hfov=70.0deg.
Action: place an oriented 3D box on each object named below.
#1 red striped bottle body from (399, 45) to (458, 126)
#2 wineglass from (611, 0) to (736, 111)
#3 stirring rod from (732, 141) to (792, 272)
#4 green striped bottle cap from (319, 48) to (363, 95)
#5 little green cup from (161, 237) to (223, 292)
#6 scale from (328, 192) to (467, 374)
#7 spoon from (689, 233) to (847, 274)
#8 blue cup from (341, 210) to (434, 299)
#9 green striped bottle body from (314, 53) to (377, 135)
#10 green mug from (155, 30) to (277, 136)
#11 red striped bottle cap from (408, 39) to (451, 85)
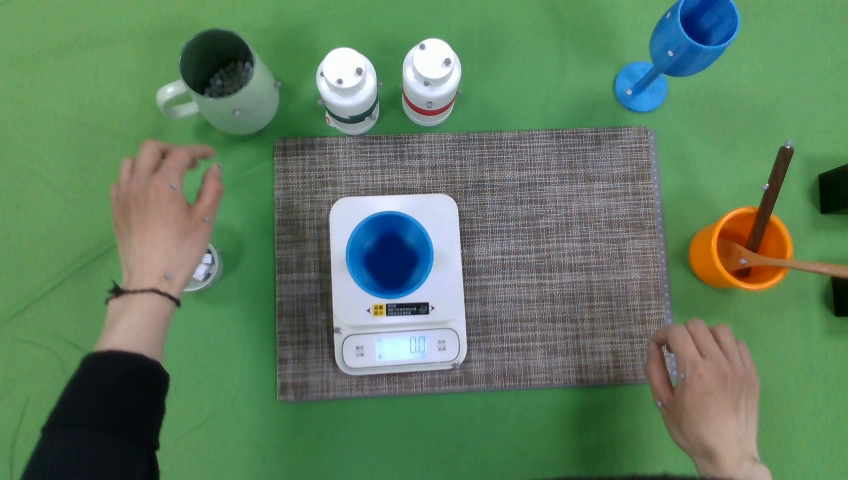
[{"bbox_3d":[0.004,-0.175,0.672,0.063,0.120,0.063,0,82,-3],"label":"red striped bottle body"},{"bbox_3d":[0.264,-0.202,0.660,0.074,0.172,0.073,0,82,-2],"label":"wineglass"},{"bbox_3d":[0.364,-0.030,0.658,0.014,0.178,0.006,4,42,11],"label":"stirring rod"},{"bbox_3d":[-0.085,-0.171,0.614,0.044,0.020,0.044,0,84,-3],"label":"green striped bottle cap"},{"bbox_3d":[-0.255,0.029,0.675,0.061,0.038,0.061,1,83,-4],"label":"little green cup"},{"bbox_3d":[-0.030,0.047,0.684,0.149,0.031,0.200,-3,84,-3],"label":"scale"},{"bbox_3d":[0.386,0.021,0.652,0.022,0.192,0.041,11,89,-45],"label":"spoon"},{"bbox_3d":[-0.035,0.018,0.621,0.093,0.100,0.092,0,85,-3],"label":"blue cup"},{"bbox_3d":[-0.085,-0.163,0.666,0.063,0.119,0.063,0,82,-2],"label":"green striped bottle body"},{"bbox_3d":[-0.231,-0.163,0.667,0.125,0.105,0.092,-25,85,-5],"label":"green mug"},{"bbox_3d":[0.006,-0.183,0.620,0.044,0.018,0.044,1,81,-5],"label":"red striped bottle cap"}]
